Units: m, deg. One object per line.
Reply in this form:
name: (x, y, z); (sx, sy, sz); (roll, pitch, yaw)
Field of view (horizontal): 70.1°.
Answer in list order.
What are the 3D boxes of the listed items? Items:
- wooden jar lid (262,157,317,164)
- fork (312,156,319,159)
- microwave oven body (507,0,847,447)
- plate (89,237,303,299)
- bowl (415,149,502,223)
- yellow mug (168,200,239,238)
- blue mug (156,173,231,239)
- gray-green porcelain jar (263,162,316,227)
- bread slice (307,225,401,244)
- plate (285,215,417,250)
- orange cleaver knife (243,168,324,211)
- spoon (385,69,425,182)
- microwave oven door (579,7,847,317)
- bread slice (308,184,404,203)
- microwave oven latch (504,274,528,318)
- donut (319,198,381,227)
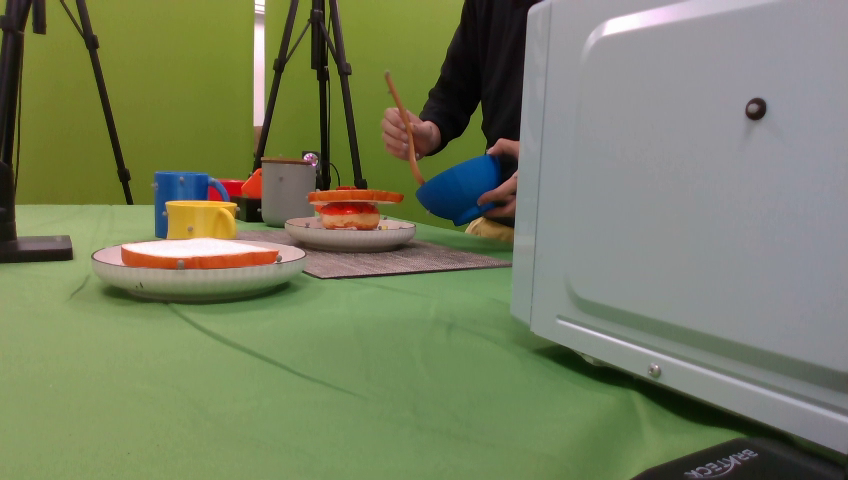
wooden jar lid: (-0.269, -0.154, 1.208); (0.108, 0.020, 0.108); (3, 4, 0)
fork: (-0.331, -0.144, 1.506); (0.207, 0.018, 0.028); (-42, -21, 22)
microwave oven body: (0.331, -0.042, 0.425); (0.444, 0.260, 0.324); (-2, 8, -31)
plate: (-0.233, 0.029, 0.636); (0.208, 0.039, 0.207); (2, 7, 0)
bowl: (0.070, -0.078, 0.988); (0.151, 0.076, 0.151); (-25, -7, -3)
yellow mug: (-0.320, -0.023, 0.904); (0.130, 0.064, 0.100); (9, 11, 36)
blue mug: (-0.381, -0.057, 1.004); (0.117, 0.106, 0.082); (0, 8, -12)
gray-green porcelain jar: (-0.271, -0.092, 1.217); (0.106, 0.126, 0.106); (2, 7, 0)
bread slice: (-0.103, -0.009, 0.962); (0.131, 0.019, 0.105); (2, 8, 25)
plate: (-0.116, -0.014, 0.964); (0.209, 0.038, 0.209); (2, 7, 0)
orange cleaver knife: (-0.300, -0.089, 1.351); (0.212, 0.077, 0.012); (29, -9, -34)
spoon: (-0.026, -0.176, 0.960); (0.021, 0.193, 0.041); (-16, 10, -2)
microwave oven door: (0.295, -0.067, 0.570); (0.358, 0.243, 0.039); (-3, 9, -31)
bread slice: (-0.114, -0.072, 0.953); (0.134, 0.018, 0.107); (-3, -1, 22)
microwave oven latch: (0.100, 0.041, 0.471); (0.079, 0.029, 0.030); (-1, 7, -28)
donut: (-0.117, -0.042, 0.965); (0.099, 0.048, 0.099); (-9, -7, -1)
